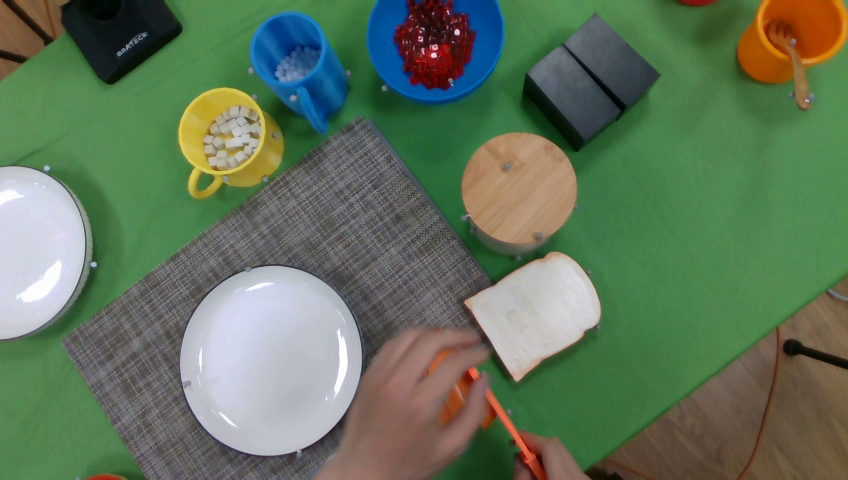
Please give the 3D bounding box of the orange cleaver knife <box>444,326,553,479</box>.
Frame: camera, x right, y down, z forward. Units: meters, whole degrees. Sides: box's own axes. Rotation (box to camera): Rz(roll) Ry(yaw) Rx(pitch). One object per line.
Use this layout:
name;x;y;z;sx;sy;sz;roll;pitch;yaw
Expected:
orange cleaver knife;0.079;0.171;0.588;0.012;0.076;0.212;-33;107;-1

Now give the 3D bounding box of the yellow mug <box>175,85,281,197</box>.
yellow mug;-0.233;-0.107;0.701;0.099;0.064;0.131;31;88;9

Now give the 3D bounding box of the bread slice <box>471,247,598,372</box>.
bread slice;0.131;0.074;0.688;0.131;0.019;0.104;-35;73;20

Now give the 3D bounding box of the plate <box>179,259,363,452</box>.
plate;-0.168;0.127;0.680;0.209;0.038;0.208;-1;84;5

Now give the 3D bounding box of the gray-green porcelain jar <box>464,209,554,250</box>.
gray-green porcelain jar;0.093;-0.045;0.636;0.106;0.127;0.105;-1;83;5

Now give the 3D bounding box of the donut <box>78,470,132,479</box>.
donut;-0.360;0.309;0.678;0.099;0.048;0.098;0;83;3

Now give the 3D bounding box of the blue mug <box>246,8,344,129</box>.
blue mug;-0.137;-0.181;0.681;0.082;0.106;0.116;-17;82;3

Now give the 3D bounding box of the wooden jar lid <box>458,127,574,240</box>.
wooden jar lid;0.087;-0.053;0.575;0.108;0.021;0.108;0;84;2

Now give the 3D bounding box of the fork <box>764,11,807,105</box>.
fork;0.369;-0.190;0.616;0.028;0.019;0.206;25;42;1

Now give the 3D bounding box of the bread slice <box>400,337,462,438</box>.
bread slice;0.006;0.148;0.620;0.018;0.135;0.106;-30;81;-3

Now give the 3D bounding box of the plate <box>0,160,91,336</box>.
plate;-0.494;0.010;0.725;0.207;0.039;0.207;-1;84;5

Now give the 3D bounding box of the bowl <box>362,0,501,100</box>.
bowl;0.011;-0.222;0.687;0.151;0.077;0.151;-1;84;5
